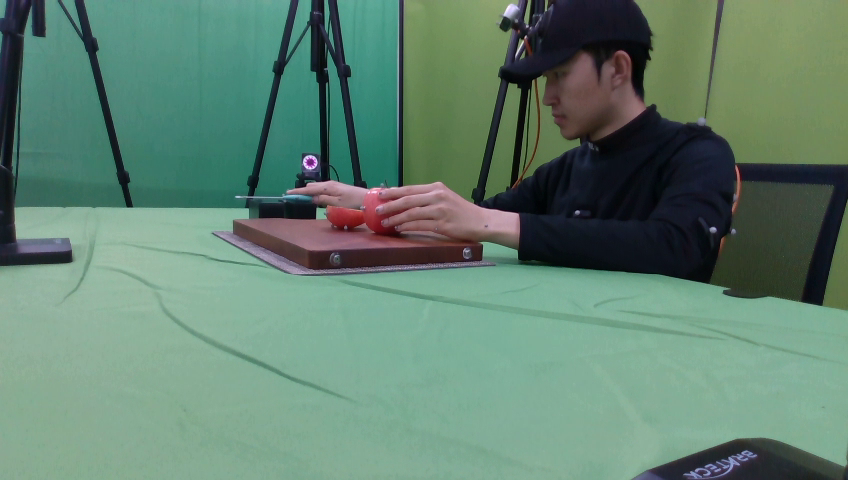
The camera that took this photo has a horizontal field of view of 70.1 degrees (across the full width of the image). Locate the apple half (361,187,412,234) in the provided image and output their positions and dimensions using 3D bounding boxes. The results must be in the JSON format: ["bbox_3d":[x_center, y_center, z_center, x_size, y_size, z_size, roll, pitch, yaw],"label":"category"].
[{"bbox_3d":[-0.051,-0.045,0.939,0.081,0.074,0.053,1,10,-43],"label":"apple half"}]

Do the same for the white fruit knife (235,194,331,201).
[{"bbox_3d":[-0.294,-0.089,1.281,0.208,0.016,0.027,-2,-2,-27],"label":"white fruit knife"}]

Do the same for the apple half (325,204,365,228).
[{"bbox_3d":[-0.128,-0.034,0.991,0.081,0.033,0.081,11,-5,1],"label":"apple half"}]
